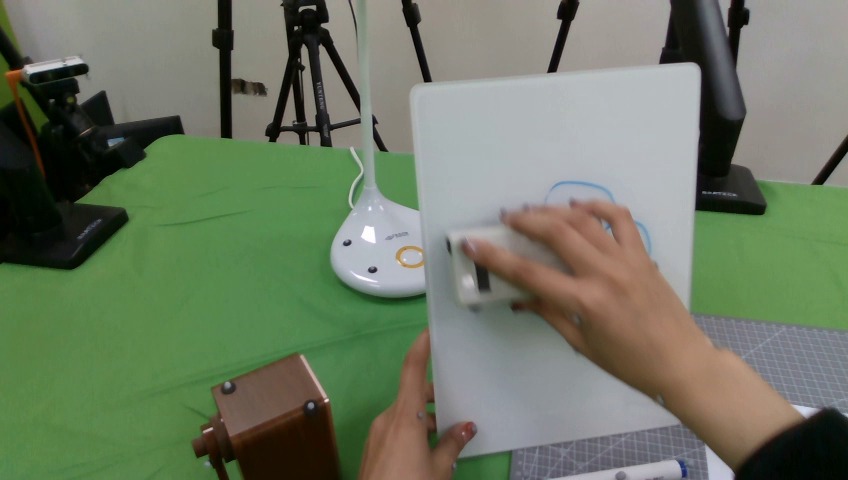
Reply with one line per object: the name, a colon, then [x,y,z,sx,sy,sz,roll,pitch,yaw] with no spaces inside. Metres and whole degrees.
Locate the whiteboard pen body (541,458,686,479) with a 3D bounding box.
whiteboard pen body: [0.135,0.186,0.470,0.141,0.017,0.017,-6,35,-6]

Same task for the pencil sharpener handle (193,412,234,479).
pencil sharpener handle: [-0.154,0.157,0.428,0.031,0.068,0.035,-20,26,-24]

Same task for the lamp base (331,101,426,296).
lamp base: [-0.040,-0.056,0.687,0.161,0.182,0.177,-24,39,-29]

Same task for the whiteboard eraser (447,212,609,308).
whiteboard eraser: [0.075,0.014,0.442,0.113,0.056,0.041,-8,9,-6]

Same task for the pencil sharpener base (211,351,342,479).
pencil sharpener base: [-0.111,0.150,0.459,0.077,0.108,0.060,-19,40,-24]

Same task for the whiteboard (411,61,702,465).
whiteboard: [0.101,0.010,0.534,0.217,0.307,0.143,-6,16,-6]
